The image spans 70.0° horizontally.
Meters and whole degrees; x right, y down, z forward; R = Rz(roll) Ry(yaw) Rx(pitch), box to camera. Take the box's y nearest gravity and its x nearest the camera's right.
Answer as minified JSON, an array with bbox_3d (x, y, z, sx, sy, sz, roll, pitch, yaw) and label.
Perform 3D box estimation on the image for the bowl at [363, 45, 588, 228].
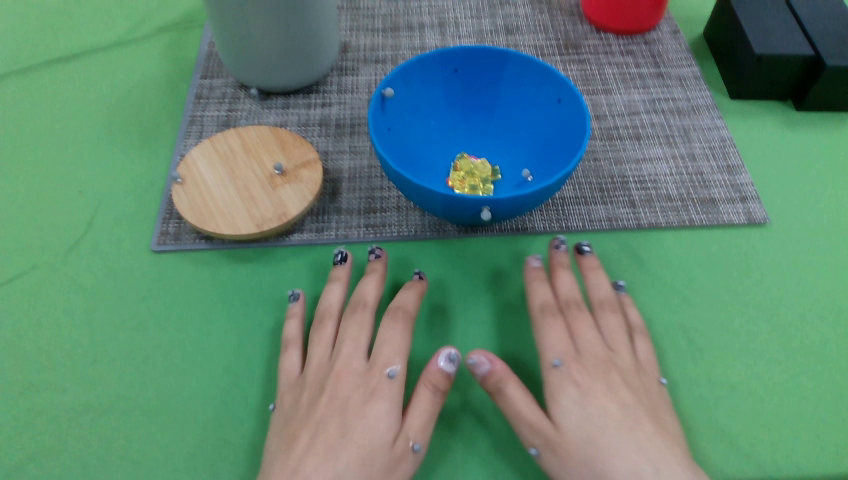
[{"bbox_3d":[0.034,-0.062,0.436,0.151,0.077,0.150,1,55,-1],"label":"bowl"}]

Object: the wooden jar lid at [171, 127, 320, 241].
[{"bbox_3d":[-0.131,-0.040,0.453,0.108,0.021,0.107,0,54,0],"label":"wooden jar lid"}]

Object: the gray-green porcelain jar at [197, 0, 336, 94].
[{"bbox_3d":[-0.129,-0.194,0.498,0.106,0.127,0.105,1,54,-1],"label":"gray-green porcelain jar"}]
